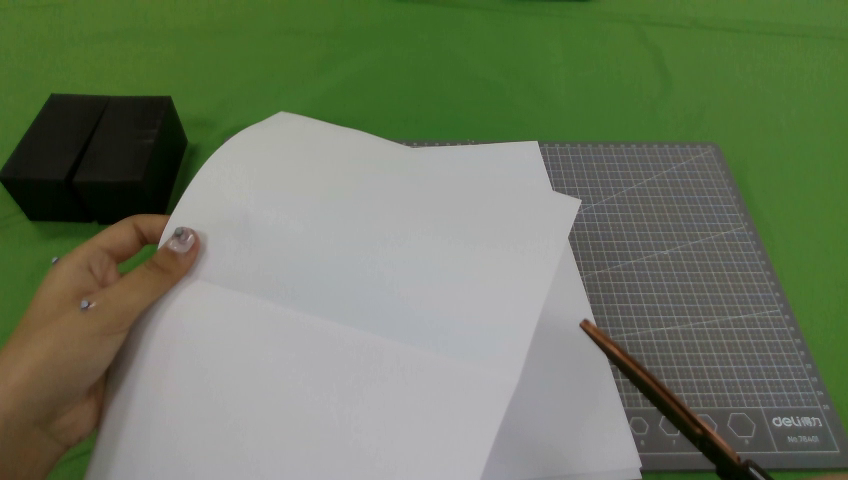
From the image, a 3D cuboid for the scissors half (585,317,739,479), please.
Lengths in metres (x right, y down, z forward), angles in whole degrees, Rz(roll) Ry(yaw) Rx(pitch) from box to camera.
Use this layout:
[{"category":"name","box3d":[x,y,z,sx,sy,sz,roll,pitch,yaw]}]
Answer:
[{"category":"scissors half","box3d":[0.131,0.100,0.272,0.013,0.040,0.175,-41,91,-20]}]

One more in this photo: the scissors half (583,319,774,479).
[{"category":"scissors half","box3d":[0.135,0.093,0.254,0.174,0.040,0.013,42,64,15]}]
